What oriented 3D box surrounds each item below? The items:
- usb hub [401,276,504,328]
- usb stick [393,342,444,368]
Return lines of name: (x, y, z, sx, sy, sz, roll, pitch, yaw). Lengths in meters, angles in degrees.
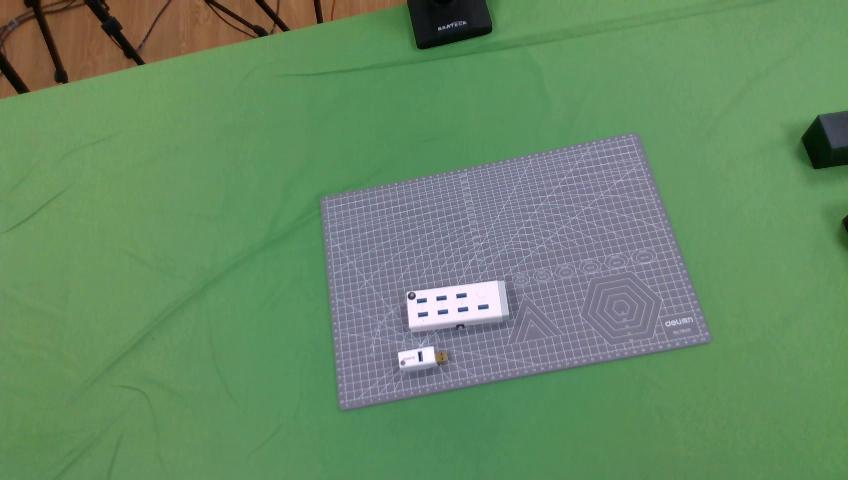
usb hub: (0.035, 0.077, 0.755, 0.125, 0.025, 0.049, -7, 66, 4)
usb stick: (-0.006, 0.139, 0.733, 0.059, 0.027, 0.021, -9, 67, 1)
